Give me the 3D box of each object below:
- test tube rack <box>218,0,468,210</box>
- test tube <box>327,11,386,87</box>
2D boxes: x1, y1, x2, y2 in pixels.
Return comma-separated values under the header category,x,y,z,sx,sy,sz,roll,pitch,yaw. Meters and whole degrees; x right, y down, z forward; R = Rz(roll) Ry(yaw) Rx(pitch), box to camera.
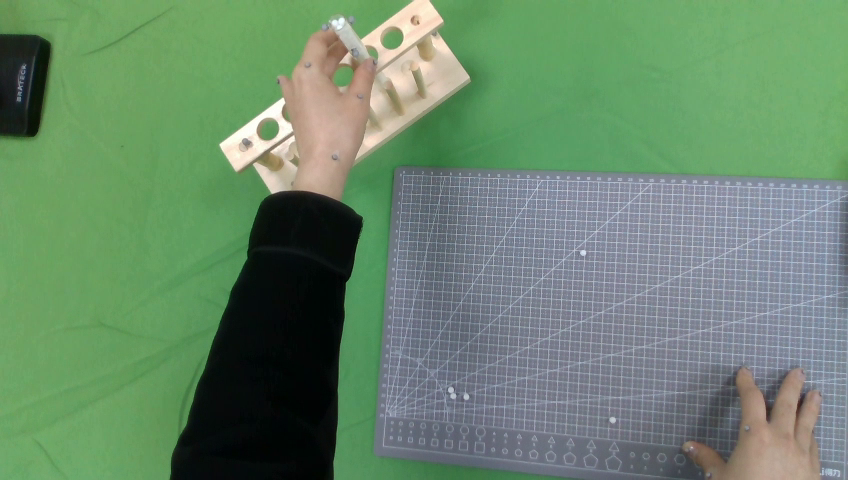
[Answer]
category,x,y,z,sx,sy,sz,roll,pitch,yaw
test tube rack,-0.077,-0.131,0.612,0.242,0.085,0.066,-35,80,4
test tube,-0.059,-0.172,0.563,0.017,0.151,0.017,-1,85,10
